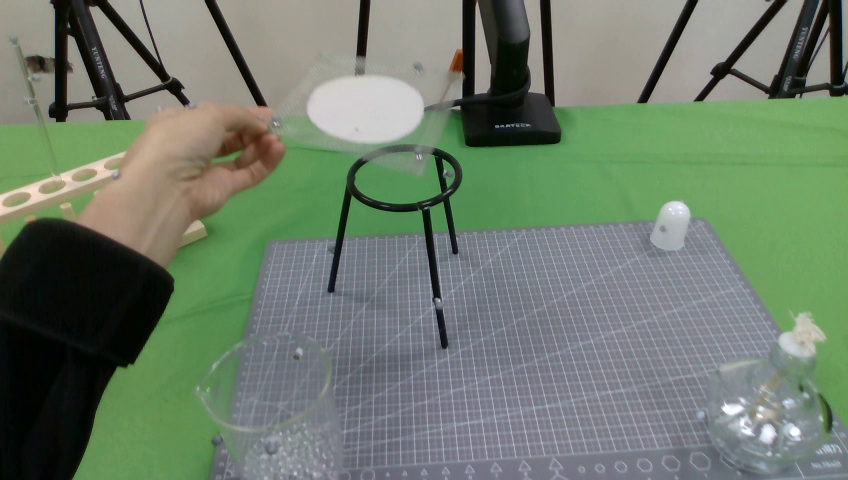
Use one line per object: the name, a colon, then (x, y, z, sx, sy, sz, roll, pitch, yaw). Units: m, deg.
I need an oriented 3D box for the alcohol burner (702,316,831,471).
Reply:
alcohol burner: (0.227, 0.095, 0.393, 0.078, 0.120, 0.077, -1, 38, 1)

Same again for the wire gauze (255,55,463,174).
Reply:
wire gauze: (-0.044, -0.101, 0.450, 0.125, 0.011, 0.120, 14, 47, 12)

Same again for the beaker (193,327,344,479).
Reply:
beaker: (-0.094, 0.117, 0.388, 0.084, 0.101, 0.073, -5, 40, -3)

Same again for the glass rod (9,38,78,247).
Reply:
glass rod: (-0.335, -0.078, 0.542, 0.008, 0.201, 0.008, 2, 33, -1)

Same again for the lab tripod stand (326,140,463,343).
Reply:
lab tripod stand: (-0.018, -0.004, 0.505, 0.148, 0.133, 0.147, -2, 41, 2)

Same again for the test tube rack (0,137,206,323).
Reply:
test tube rack: (-0.338, -0.005, 0.557, 0.242, 0.086, 0.066, -29, 47, -29)

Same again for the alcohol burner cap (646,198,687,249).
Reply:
alcohol burner cap: (0.236, -0.019, 0.588, 0.034, 0.048, 0.033, -1, 40, 1)
